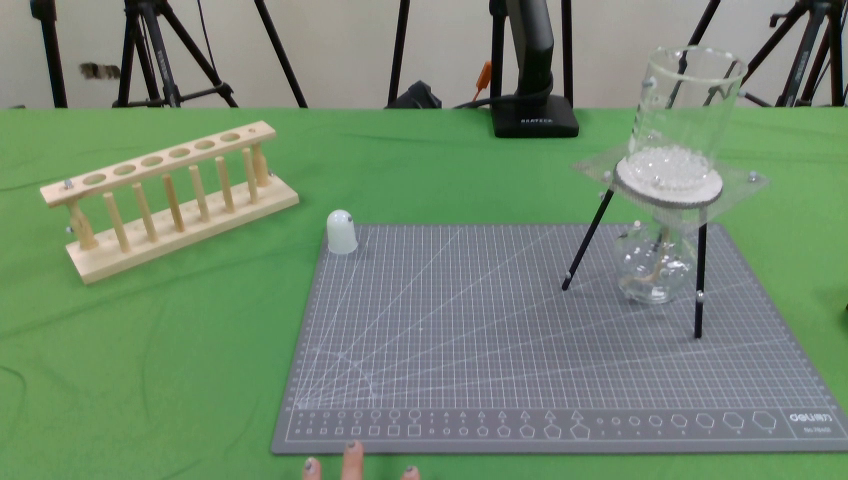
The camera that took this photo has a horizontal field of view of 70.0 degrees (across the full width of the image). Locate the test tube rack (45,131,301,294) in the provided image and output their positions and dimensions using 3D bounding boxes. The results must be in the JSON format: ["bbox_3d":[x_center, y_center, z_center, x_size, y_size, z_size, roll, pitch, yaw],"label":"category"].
[{"bbox_3d":[-0.264,-0.038,0.668,0.243,0.086,0.066,-25,42,-30],"label":"test tube rack"}]

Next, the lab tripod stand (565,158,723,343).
[{"bbox_3d":[0.214,0.005,0.557,0.148,0.132,0.147,1,36,0],"label":"lab tripod stand"}]

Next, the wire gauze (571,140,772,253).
[{"bbox_3d":[0.209,-0.047,0.517,0.121,0.011,0.123,-24,46,-27],"label":"wire gauze"}]

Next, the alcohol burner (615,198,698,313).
[{"bbox_3d":[0.222,0.010,0.567,0.078,0.120,0.077,0,38,0],"label":"alcohol burner"}]

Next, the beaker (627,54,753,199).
[{"bbox_3d":[0.210,-0.093,0.496,0.074,0.101,0.083,-4,37,-6],"label":"beaker"}]

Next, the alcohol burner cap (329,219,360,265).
[{"bbox_3d":[-0.087,-0.001,0.647,0.034,0.048,0.033,0,37,0],"label":"alcohol burner cap"}]
